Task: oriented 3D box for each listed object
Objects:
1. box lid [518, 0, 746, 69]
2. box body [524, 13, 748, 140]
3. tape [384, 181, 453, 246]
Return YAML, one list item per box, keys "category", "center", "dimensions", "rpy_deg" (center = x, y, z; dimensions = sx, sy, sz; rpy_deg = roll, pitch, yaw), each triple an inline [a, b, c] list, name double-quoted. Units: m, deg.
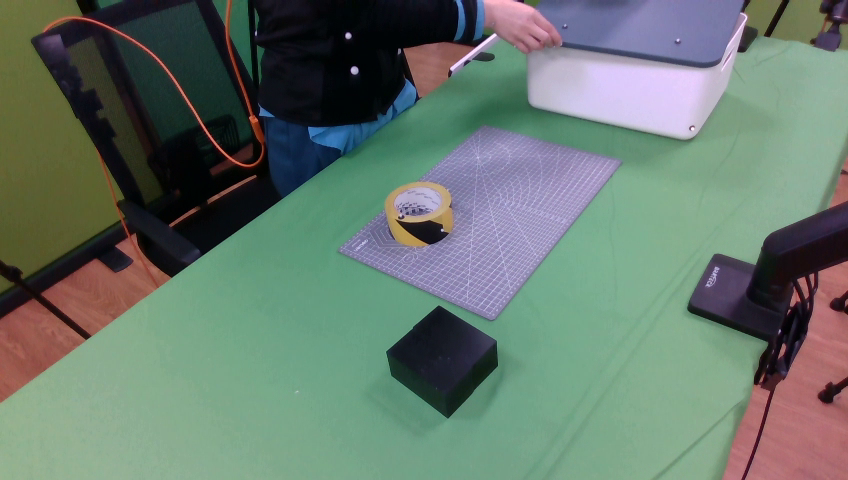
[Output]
- category: "box lid"
  center: [0.391, -0.420, 1.140]
  dimensions: [0.369, 0.015, 0.263]
  rpy_deg: [18, 54, 24]
- category: "box body"
  center: [0.412, -0.354, 1.212]
  dimensions: [0.361, 0.161, 0.254]
  rpy_deg: [20, 48, 29]
- category: "tape"
  center: [-0.009, -0.045, 0.994]
  dimensions: [0.117, 0.053, 0.116]
  rpy_deg: [-4, 40, 4]
